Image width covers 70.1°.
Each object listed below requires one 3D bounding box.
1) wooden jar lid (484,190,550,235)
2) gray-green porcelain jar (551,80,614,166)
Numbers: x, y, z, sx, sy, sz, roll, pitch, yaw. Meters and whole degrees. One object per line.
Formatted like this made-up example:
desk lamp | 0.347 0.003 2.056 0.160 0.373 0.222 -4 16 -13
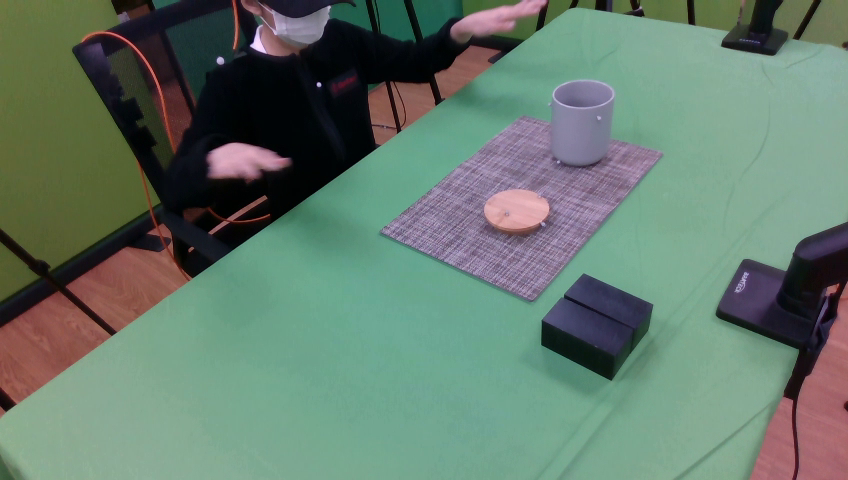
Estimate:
wooden jar lid | 0.154 -0.045 1.001 0.108 0.021 0.108 -3 40 3
gray-green porcelain jar | 0.282 -0.205 1.087 0.106 0.127 0.105 -4 40 4
